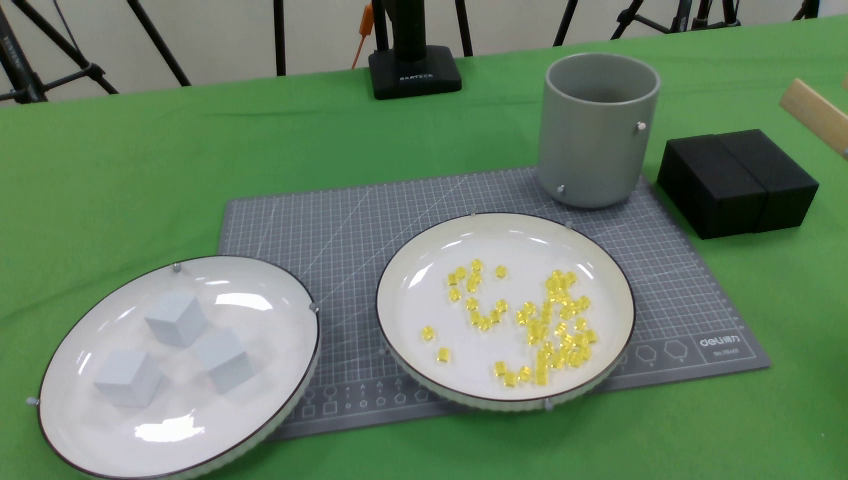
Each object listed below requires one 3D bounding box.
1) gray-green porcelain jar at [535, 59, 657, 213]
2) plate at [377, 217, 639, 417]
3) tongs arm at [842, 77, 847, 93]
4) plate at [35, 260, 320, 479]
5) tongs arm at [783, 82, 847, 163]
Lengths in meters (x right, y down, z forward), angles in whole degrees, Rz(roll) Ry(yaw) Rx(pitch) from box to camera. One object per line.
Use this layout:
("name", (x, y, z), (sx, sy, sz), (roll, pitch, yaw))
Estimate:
("gray-green porcelain jar", (0.166, -0.100, 0.605), (0.106, 0.127, 0.105), (-2, 41, 2))
("plate", (0.066, 0.059, 0.500), (0.207, 0.039, 0.205), (-2, 41, 2))
("tongs arm", (0.398, 0.012, 0.363), (0.051, 0.027, 0.380), (-19, 54, -18))
("plate", (-0.182, 0.099, 0.472), (0.209, 0.038, 0.207), (-3, 42, 3))
("tongs arm", (0.363, 0.023, 0.353), (0.028, 0.028, 0.383), (-17, 53, -20))
